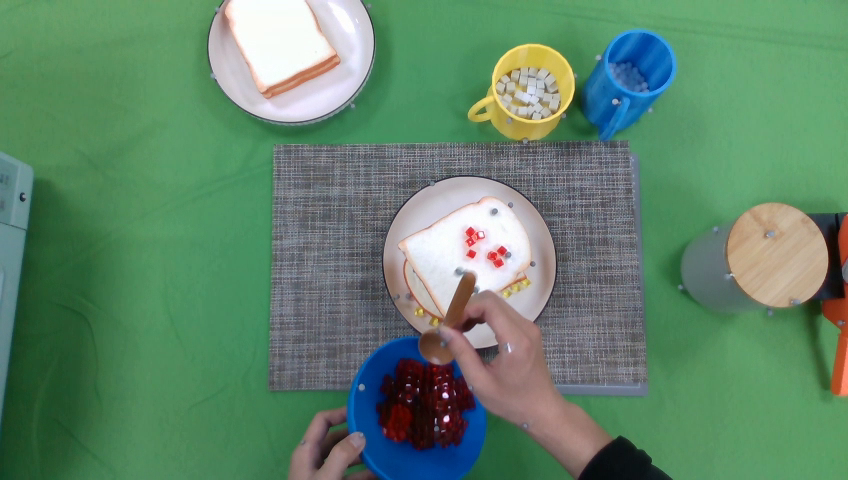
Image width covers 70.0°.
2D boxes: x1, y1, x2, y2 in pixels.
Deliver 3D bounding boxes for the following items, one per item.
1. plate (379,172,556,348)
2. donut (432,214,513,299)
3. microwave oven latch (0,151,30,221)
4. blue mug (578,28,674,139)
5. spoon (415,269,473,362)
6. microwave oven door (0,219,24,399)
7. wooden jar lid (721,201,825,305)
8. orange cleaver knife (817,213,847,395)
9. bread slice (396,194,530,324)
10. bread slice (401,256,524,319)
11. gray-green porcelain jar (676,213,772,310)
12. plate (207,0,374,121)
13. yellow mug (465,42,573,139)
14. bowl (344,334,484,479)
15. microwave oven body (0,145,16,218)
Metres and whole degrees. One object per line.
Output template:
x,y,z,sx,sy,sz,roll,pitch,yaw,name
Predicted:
0.051,0.024,0.723,0.209,0.038,0.208,0,81,-1,plate
0.057,0.019,0.696,0.099,0.048,0.098,4,79,-19,donut
-0.486,-0.063,0.709,0.030,0.029,0.079,5,81,-1,microwave oven latch
0.234,-0.177,0.729,0.082,0.106,0.116,21,81,3,blue mug
0.020,0.074,0.547,0.041,0.195,0.021,27,63,5,spoon
-0.494,0.136,0.575,0.039,0.244,0.354,2,80,0,microwave oven door
0.357,0.014,0.626,0.108,0.021,0.108,0,83,-3,wooden jar lid
0.485,0.076,0.705,0.012,0.077,0.212,-1,107,-1,orange cleaver knife
0.049,0.012,0.665,0.134,0.018,0.107,-35,90,-13,bread slice
0.041,0.033,0.725,0.131,0.019,0.104,-32,81,-9,bread slice
0.357,0.026,0.688,0.106,0.127,0.105,0,81,-1,gray-green porcelain jar
-0.165,-0.246,0.766,0.208,0.039,0.207,0,81,-1,plate
0.113,-0.177,0.746,0.131,0.064,0.099,-21,81,-3,yellow mug
-0.021,0.180,0.628,0.152,0.077,0.150,13,61,-24,bowl
-0.639,0.090,0.584,0.326,0.261,0.440,2,81,-1,microwave oven body
